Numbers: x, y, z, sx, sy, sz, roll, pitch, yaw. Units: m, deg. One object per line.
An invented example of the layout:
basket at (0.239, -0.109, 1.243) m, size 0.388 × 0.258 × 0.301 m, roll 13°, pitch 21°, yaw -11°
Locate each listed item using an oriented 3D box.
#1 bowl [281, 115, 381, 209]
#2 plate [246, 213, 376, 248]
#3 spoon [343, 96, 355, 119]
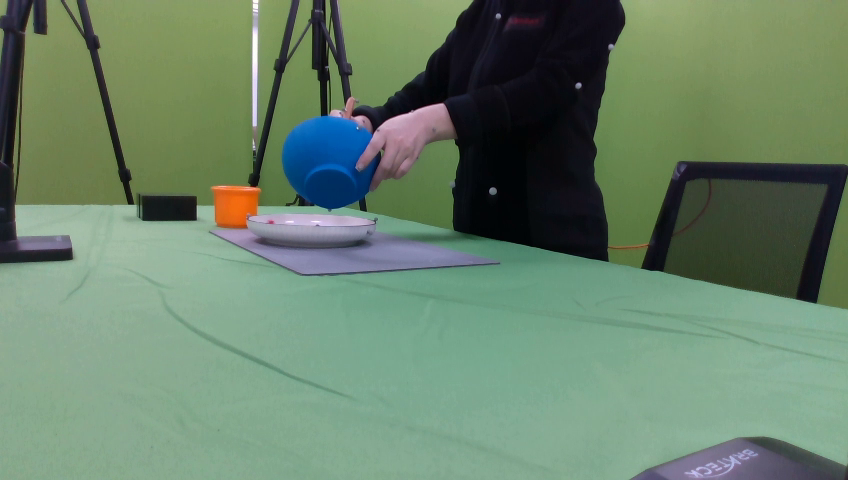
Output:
bowl at (-0.137, -0.098, 0.886) m, size 0.152 × 0.151 × 0.076 m, roll 1°, pitch 43°, yaw -7°
plate at (-0.185, -0.017, 0.994) m, size 0.209 × 0.038 × 0.209 m, roll 3°, pitch 8°, yaw 0°
spoon at (-0.141, -0.159, 0.994) m, size 0.041 × 0.193 × 0.021 m, roll 10°, pitch -29°, yaw 0°
